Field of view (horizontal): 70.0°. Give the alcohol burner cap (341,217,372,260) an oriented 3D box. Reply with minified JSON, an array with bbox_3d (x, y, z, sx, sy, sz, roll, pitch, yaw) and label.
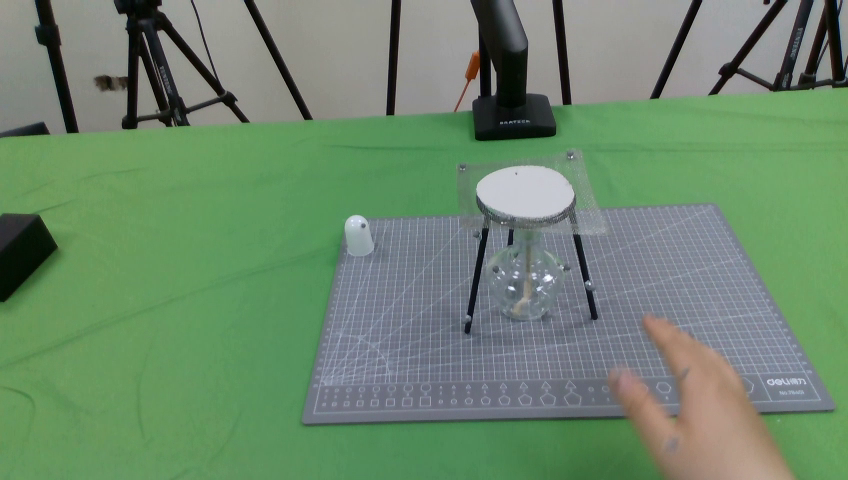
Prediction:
[{"bbox_3d":[-0.079,-0.005,0.697,0.034,0.048,0.033,-2,40,2],"label":"alcohol burner cap"}]

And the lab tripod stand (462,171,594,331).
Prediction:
[{"bbox_3d":[0.097,0.012,0.582,0.148,0.132,0.147,-2,37,2],"label":"lab tripod stand"}]

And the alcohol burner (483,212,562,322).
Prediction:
[{"bbox_3d":[0.096,0.021,0.586,0.078,0.120,0.077,-2,38,2],"label":"alcohol burner"}]

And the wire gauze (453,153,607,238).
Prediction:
[{"bbox_3d":[0.089,-0.041,0.540,0.125,0.011,0.120,-2,38,2],"label":"wire gauze"}]
